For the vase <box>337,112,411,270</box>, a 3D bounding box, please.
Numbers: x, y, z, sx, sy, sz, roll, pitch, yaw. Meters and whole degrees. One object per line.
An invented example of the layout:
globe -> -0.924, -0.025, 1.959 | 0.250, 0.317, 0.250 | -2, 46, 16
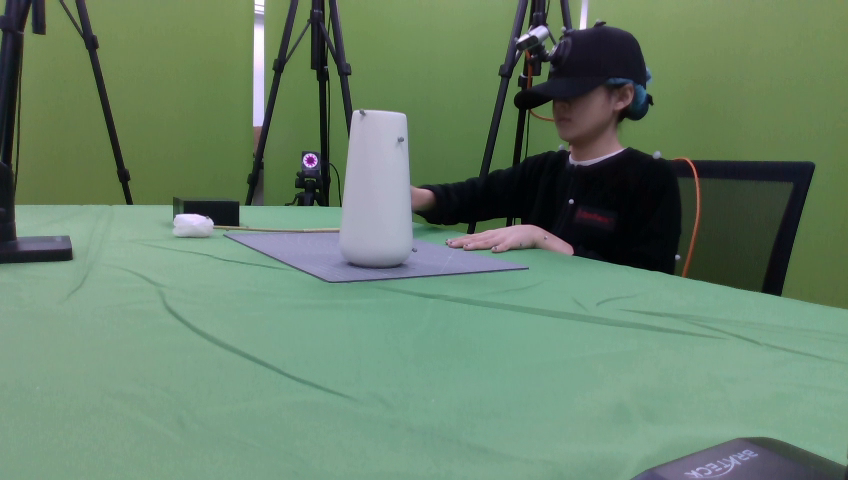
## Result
vase -> -0.064, -0.064, 0.790 | 0.098, 0.200, 0.098 | 2, 7, 0

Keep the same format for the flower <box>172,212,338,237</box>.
flower -> -0.254, -0.017, 1.079 | 0.364, 0.038, 0.044 | 4, 38, -31
